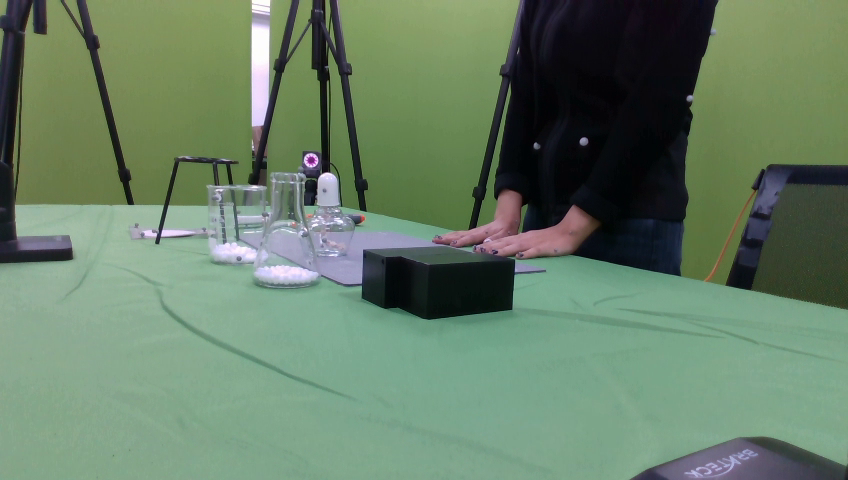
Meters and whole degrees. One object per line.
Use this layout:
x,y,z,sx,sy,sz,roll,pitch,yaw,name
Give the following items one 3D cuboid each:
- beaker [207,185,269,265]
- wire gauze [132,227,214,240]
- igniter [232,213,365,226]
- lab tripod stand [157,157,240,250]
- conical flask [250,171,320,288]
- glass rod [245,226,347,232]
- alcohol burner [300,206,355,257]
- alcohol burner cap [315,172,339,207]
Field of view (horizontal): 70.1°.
-0.244,-0.021,0.784,0.083,0.100,0.074,6,8,31,beaker
-0.425,-0.013,1.018,0.122,0.011,0.124,-1,6,-28,wire gauze
-0.246,-0.042,1.223,0.278,0.025,0.057,-3,-1,-36,igniter
-0.322,-0.057,0.905,0.148,0.131,0.148,4,7,0,lab tripod stand
-0.150,-0.013,0.658,0.075,0.122,0.075,2,7,0,conical flask
-0.237,-0.021,1.141,0.201,0.008,0.008,-2,8,-32,glass rod
-0.137,-0.037,0.858,0.078,0.119,0.078,0,7,0,alcohol burner
-0.137,-0.072,0.852,0.034,0.048,0.034,1,14,0,alcohol burner cap
